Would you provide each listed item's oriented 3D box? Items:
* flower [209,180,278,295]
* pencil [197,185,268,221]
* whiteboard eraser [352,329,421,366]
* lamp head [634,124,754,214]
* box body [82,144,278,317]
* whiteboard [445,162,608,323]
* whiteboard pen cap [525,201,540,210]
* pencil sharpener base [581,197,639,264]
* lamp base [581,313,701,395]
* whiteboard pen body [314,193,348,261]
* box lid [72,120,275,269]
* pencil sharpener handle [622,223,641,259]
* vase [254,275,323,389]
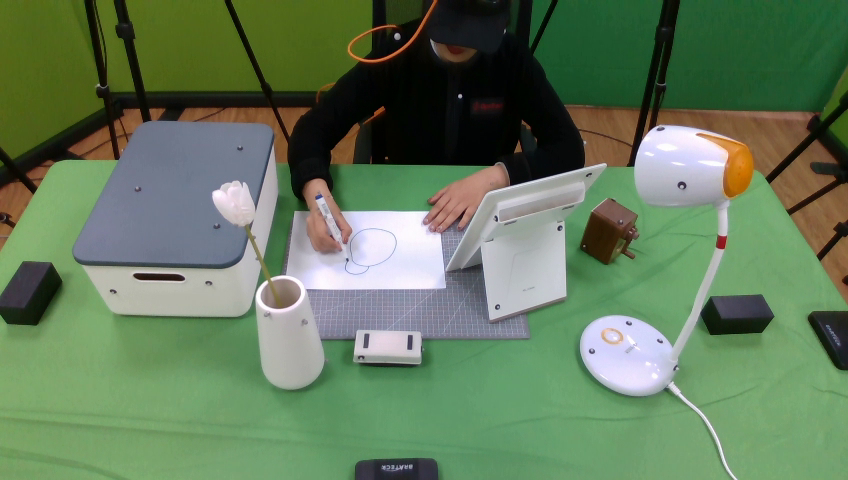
[{"bbox_3d":[-0.216,0.075,0.871,0.044,0.363,0.038,-29,36,-20],"label":"flower"},{"bbox_3d":[-0.396,-0.078,1.244,0.193,0.012,0.012,24,49,20],"label":"pencil"},{"bbox_3d":[-0.061,0.180,1.005,0.113,0.042,0.055,3,48,-3],"label":"whiteboard eraser"},{"bbox_3d":[0.351,-0.089,0.776,0.112,0.113,0.122,-30,30,-28],"label":"lamp head"},{"bbox_3d":[-0.421,-0.041,1.108,0.254,0.161,0.361,2,46,-3],"label":"box body"},{"bbox_3d":[0.186,0.025,1.029,0.217,0.306,0.143,-14,68,-17],"label":"whiteboard"},{"bbox_3d":[0.230,-0.074,1.289,0.033,0.018,0.018,5,46,4],"label":"whiteboard pen cap"},{"bbox_3d":[0.362,-0.017,1.179,0.076,0.107,0.061,37,54,27],"label":"pencil sharpener base"},{"bbox_3d":[0.361,0.144,0.973,0.178,0.181,0.160,34,53,23],"label":"lamp base"},{"bbox_3d":[-0.172,-0.022,1.137,0.017,0.141,0.017,-20,18,7],"label":"whiteboard pen body"},{"bbox_3d":[-0.417,-0.094,1.056,0.263,0.015,0.369,1,47,-3],"label":"box lid"},{"bbox_3d":[0.397,0.002,1.146,0.030,0.068,0.036,37,46,27],"label":"pencil sharpener handle"},{"bbox_3d":[-0.209,0.143,0.921,0.098,0.201,0.097,1,46,-1],"label":"vase"}]
